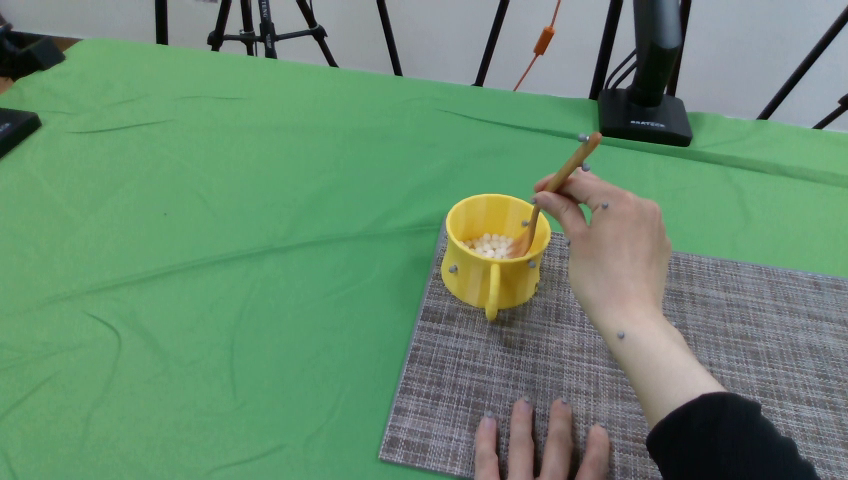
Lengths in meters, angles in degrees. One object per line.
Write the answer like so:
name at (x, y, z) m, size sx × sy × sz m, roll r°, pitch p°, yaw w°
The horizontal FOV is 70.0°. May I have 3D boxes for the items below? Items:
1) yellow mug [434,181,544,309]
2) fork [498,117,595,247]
yellow mug at (0.060, 0.008, 0.578) m, size 0.100 × 0.064 × 0.129 m, roll 5°, pitch 44°, yaw 1°
fork at (0.096, -0.038, 0.513) m, size 0.018 × 0.208 × 0.028 m, roll 15°, pitch 63°, yaw -1°
